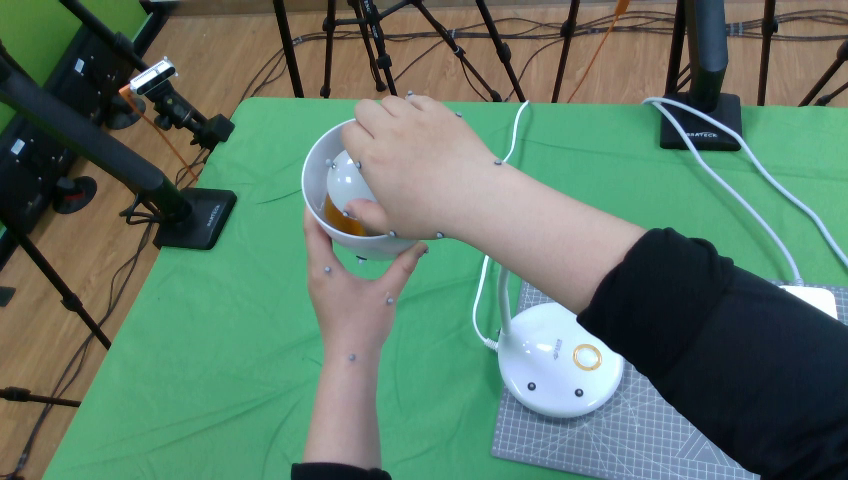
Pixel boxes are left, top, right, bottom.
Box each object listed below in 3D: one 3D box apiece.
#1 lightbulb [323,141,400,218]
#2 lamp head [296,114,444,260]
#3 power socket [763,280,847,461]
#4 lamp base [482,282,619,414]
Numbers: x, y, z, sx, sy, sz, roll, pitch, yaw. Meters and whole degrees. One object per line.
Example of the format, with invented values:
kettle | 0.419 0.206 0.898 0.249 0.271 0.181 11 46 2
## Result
lightbulb | -0.045 -0.042 0.497 0.059 0.108 0.059 -2 75 8
lamp head | -0.039 -0.031 0.527 0.112 0.124 0.111 -3 66 7
power socket | 0.458 0.147 0.730 0.072 0.033 0.225 5 58 15
lamp base | 0.145 0.108 0.738 0.178 0.182 0.159 -1 57 16
